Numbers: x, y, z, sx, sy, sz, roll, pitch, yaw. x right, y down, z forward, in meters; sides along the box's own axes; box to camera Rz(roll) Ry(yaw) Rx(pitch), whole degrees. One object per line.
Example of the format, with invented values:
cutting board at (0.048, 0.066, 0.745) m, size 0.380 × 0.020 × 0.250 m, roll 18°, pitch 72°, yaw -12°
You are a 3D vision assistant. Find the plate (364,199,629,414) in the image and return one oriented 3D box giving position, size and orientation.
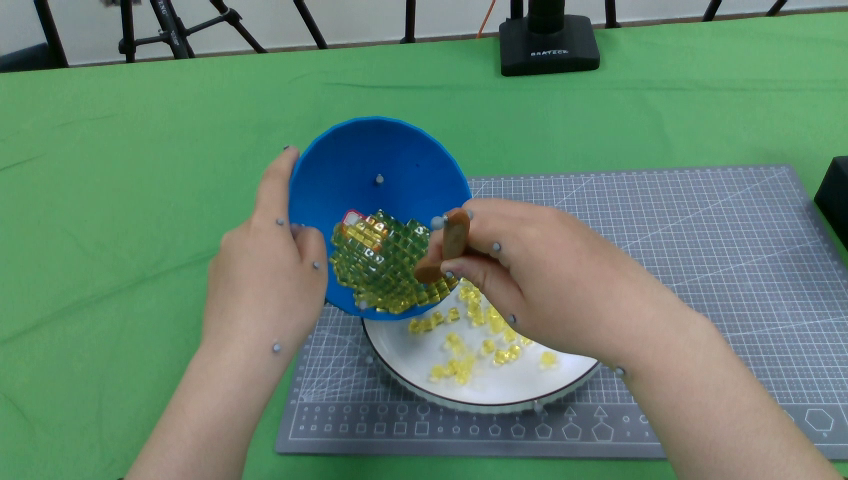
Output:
plate at (0.056, 0.050, 0.491) m, size 0.207 × 0.039 × 0.205 m, roll -4°, pitch 46°, yaw 5°

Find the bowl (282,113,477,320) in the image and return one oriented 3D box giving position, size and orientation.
bowl at (-0.043, -0.013, 0.468) m, size 0.151 × 0.152 × 0.076 m, roll -39°, pitch 12°, yaw -26°

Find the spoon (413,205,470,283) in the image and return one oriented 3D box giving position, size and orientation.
spoon at (0.015, 0.008, 0.366) m, size 0.041 × 0.194 × 0.021 m, roll -10°, pitch 82°, yaw -4°
